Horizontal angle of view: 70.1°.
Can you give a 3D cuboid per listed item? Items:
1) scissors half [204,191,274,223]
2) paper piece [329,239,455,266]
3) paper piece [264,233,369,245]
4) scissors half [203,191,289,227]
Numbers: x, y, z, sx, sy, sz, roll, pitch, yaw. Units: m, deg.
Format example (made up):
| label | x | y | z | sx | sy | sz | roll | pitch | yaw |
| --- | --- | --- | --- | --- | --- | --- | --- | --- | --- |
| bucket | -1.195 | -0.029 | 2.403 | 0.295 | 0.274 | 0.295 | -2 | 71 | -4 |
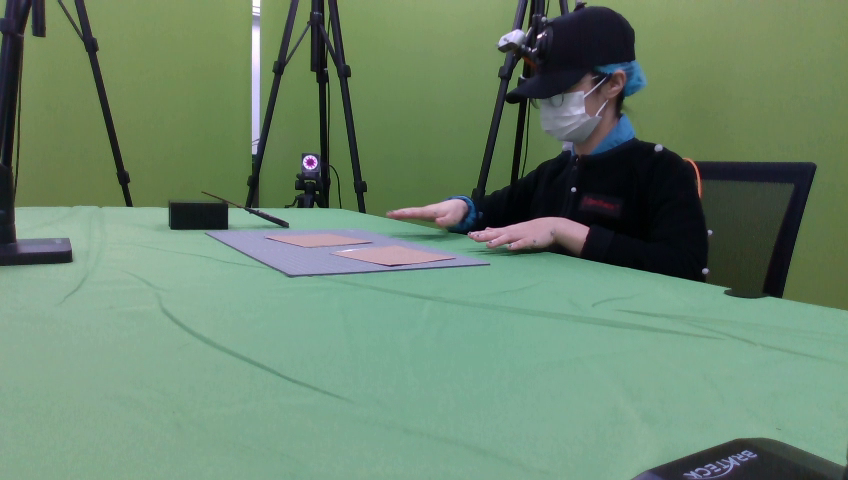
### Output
| label | x | y | z | sx | sy | sz | roll | pitch | yaw |
| --- | --- | --- | --- | --- | --- | --- | --- | --- | --- |
| scissors half | -0.359 | -0.064 | 1.218 | 0.176 | 0.013 | 0.040 | 25 | -5 | -33 |
| paper piece | -0.047 | 0.018 | 0.892 | 0.137 | 0.008 | 0.137 | 12 | 16 | 44 |
| paper piece | -0.180 | -0.005 | 1.032 | 0.136 | 0.004 | 0.135 | -3 | 9 | -43 |
| scissors half | -0.351 | -0.063 | 1.200 | 0.176 | 0.013 | 0.040 | 22 | -9 | -16 |
